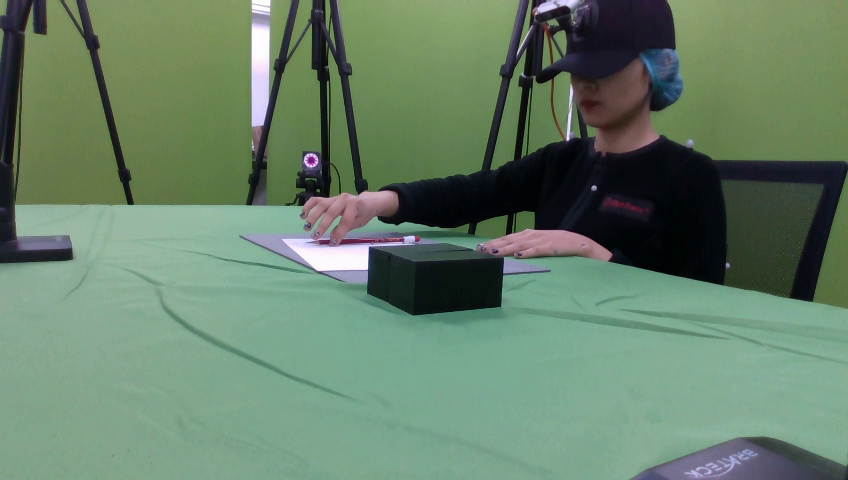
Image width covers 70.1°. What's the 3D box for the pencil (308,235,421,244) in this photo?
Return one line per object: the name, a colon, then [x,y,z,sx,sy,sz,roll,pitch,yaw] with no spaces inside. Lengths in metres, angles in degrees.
pencil: [-0.094,0.000,0.983,0.195,0.012,0.012,-2,8,-27]
